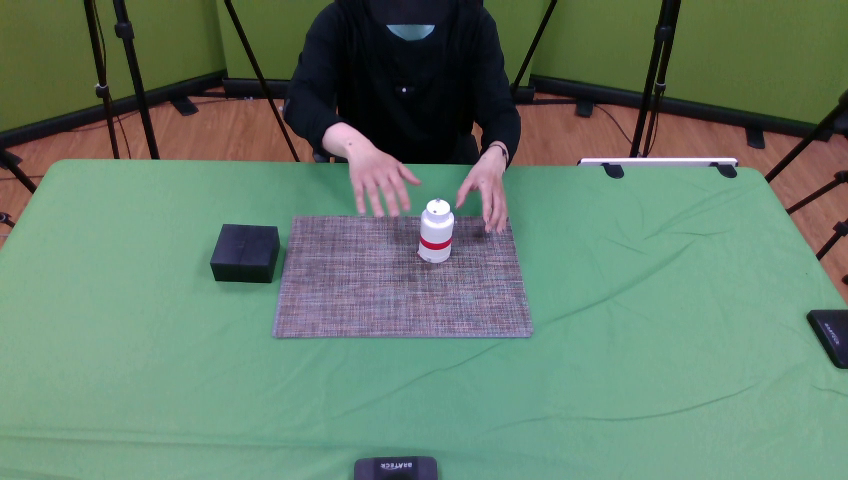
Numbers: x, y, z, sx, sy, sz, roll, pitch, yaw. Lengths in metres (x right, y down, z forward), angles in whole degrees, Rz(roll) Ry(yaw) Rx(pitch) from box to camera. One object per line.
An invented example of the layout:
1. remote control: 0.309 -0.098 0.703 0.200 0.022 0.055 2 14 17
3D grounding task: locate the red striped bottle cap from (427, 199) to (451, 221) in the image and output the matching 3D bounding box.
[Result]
1. red striped bottle cap: 0.027 -0.056 1.103 0.044 0.018 0.044 0 46 0

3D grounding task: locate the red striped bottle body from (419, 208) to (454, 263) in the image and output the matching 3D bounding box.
1. red striped bottle body: 0.024 -0.018 1.141 0.063 0.120 0.062 2 46 -1
